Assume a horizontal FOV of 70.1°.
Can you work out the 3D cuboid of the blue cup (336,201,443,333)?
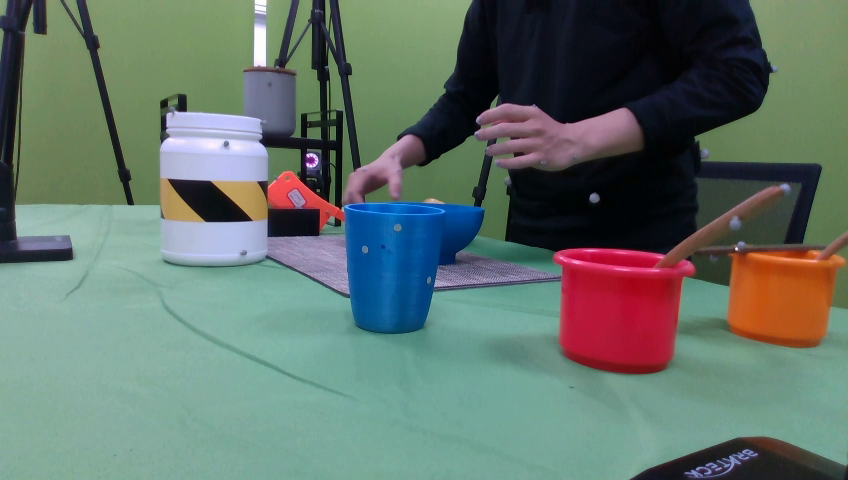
[{"bbox_3d":[-0.029,0.021,0.508,0.093,0.100,0.092,3,9,0],"label":"blue cup"}]

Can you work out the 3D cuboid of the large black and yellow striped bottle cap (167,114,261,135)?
[{"bbox_3d":[-0.269,-0.148,0.779,0.115,0.019,0.115,4,8,0],"label":"large black and yellow striped bottle cap"}]

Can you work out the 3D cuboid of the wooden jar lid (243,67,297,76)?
[{"bbox_3d":[-0.319,-0.342,1.254,0.108,0.020,0.108,3,8,0],"label":"wooden jar lid"}]

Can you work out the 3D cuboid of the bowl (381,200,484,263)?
[{"bbox_3d":[0.008,-0.012,0.842,0.151,0.077,0.151,2,7,0],"label":"bowl"}]

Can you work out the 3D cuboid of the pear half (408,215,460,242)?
[{"bbox_3d":[0.011,-0.019,0.848,0.070,0.031,0.088,5,12,33],"label":"pear half"}]

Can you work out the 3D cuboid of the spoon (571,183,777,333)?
[{"bbox_3d":[0.161,0.020,0.413,0.042,0.021,0.193,1,-36,-24],"label":"spoon"}]

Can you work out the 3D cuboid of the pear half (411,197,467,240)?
[{"bbox_3d":[0.030,-0.023,1.076,0.110,0.056,0.076,31,-36,-14],"label":"pear half"}]

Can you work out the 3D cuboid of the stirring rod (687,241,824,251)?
[{"bbox_3d":[0.290,0.005,0.525,0.177,0.006,0.014,-1,5,-26],"label":"stirring rod"}]

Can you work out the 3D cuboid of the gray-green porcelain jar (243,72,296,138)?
[{"bbox_3d":[-0.322,-0.279,1.263,0.106,0.126,0.106,3,8,0],"label":"gray-green porcelain jar"}]

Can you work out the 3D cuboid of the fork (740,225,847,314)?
[{"bbox_3d":[0.323,0.013,0.485,0.028,0.018,0.207,8,-37,-6],"label":"fork"}]

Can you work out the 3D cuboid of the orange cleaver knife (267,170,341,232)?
[{"bbox_3d":[-0.201,-0.056,1.136,0.212,0.077,0.012,31,-4,-32],"label":"orange cleaver knife"}]

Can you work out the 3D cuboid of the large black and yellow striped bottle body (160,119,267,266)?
[{"bbox_3d":[-0.272,-0.065,0.789,0.131,0.184,0.130,2,7,0],"label":"large black and yellow striped bottle body"}]
